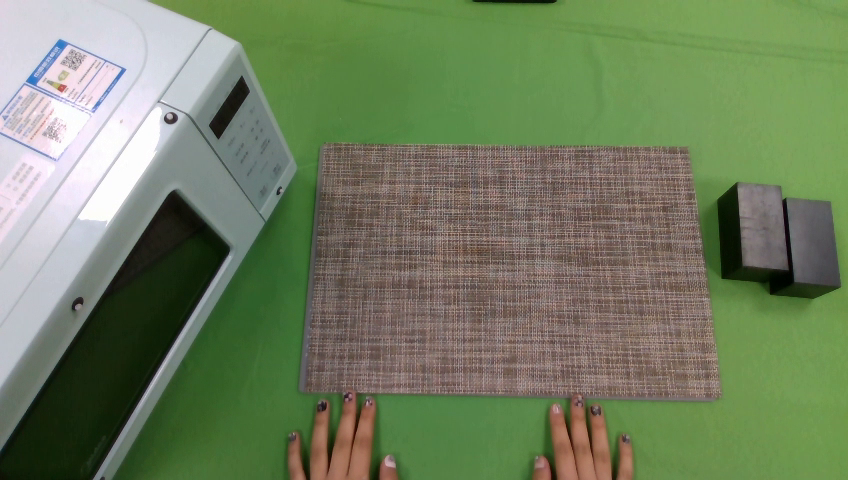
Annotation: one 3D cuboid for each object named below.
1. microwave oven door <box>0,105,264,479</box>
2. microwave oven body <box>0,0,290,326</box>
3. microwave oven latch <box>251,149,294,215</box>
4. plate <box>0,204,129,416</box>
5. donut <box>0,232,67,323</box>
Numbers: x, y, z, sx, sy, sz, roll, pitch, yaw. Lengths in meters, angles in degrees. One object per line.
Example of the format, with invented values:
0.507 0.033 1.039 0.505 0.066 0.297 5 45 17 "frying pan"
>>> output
-0.275 0.084 0.538 0.039 0.245 0.354 24 73 8 "microwave oven door"
-0.390 -0.010 0.574 0.325 0.261 0.440 24 74 7 "microwave oven body"
-0.179 -0.070 0.697 0.030 0.029 0.079 24 74 7 "microwave oven latch"
-0.382 0.066 0.592 0.209 0.038 0.207 -3 69 7 "plate"
-0.411 0.037 0.607 0.099 0.048 0.098 2 56 -3 "donut"
